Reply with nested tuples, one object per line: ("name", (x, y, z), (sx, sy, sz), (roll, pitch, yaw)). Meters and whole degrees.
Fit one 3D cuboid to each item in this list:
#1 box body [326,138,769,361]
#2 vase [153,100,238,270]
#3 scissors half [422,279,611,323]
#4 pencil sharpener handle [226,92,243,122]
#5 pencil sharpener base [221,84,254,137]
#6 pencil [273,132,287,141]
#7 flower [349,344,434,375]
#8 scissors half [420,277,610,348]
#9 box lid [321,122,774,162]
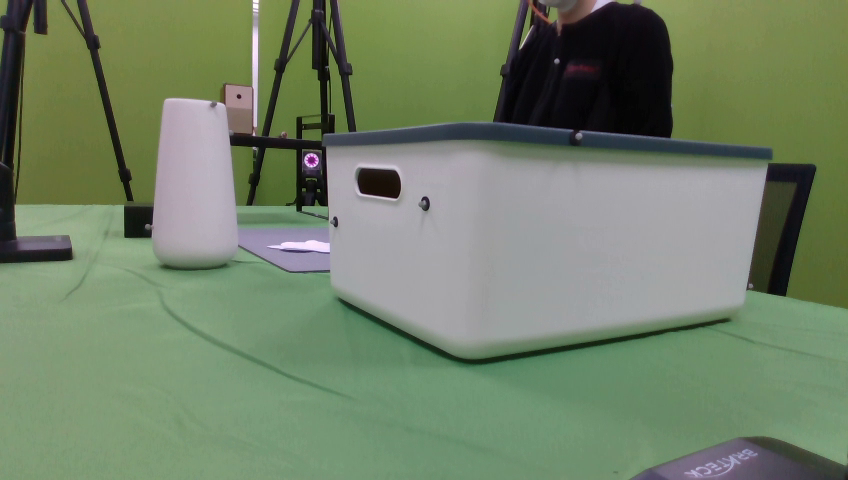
("box body", (0.112, -0.010, 0.583), (0.366, 0.160, 0.253), (-2, 9, -33))
("vase", (-0.278, -0.066, 0.736), (0.098, 0.200, 0.098), (2, 9, 0))
("scissors half", (0.073, 0.057, 0.524), (0.174, 0.040, 0.013), (5, 39, 30))
("pencil sharpener handle", (-0.431, -0.301, 1.375), (0.036, 0.068, 0.030), (-14, 13, -24))
("pencil sharpener base", (-0.411, -0.282, 1.330), (0.061, 0.107, 0.076), (-1, 8, -26))
("pencil", (-0.333, -0.236, 1.391), (0.012, 0.012, 0.193), (0, 6, -21))
("flower", (0.103, 0.072, 0.592), (0.362, 0.044, 0.038), (-17, 44, -9))
("scissors half", (0.076, 0.067, 0.533), (0.174, 0.040, 0.013), (14, 50, 24))
("box lid", (0.114, -0.085, 0.573), (0.373, 0.015, 0.262), (-2, 7, -33))
